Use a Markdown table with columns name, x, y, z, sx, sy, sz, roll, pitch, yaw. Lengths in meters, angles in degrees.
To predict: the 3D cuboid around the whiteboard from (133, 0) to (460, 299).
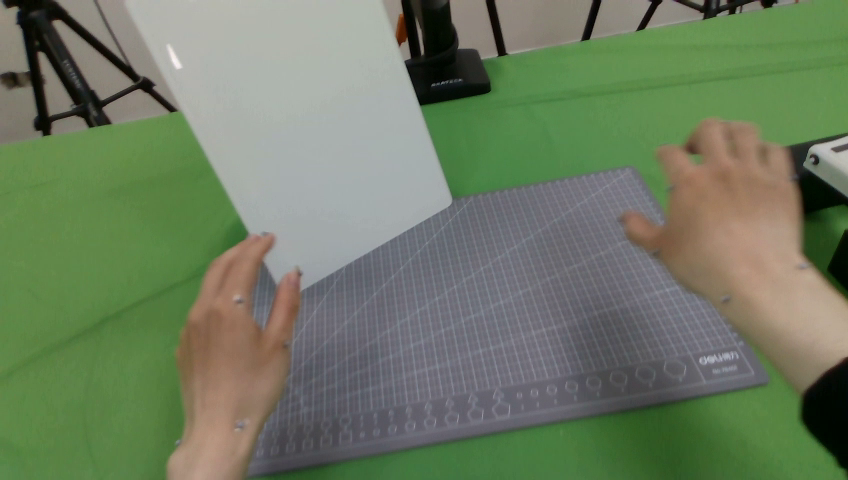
| name | x | y | z | sx | sy | sz | roll | pitch | yaw |
| --- | --- | --- | --- | --- | --- | --- | --- | --- | --- |
| whiteboard | -0.129 | -0.136 | 0.637 | 0.217 | 0.308 | 0.142 | -31 | 26 | -19 |

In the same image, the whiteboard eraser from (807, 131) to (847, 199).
| name | x | y | z | sx | sy | sz | roll | pitch | yaw |
| --- | --- | --- | --- | --- | --- | --- | --- | --- | --- |
| whiteboard eraser | 0.397 | -0.055 | 0.531 | 0.055 | 0.042 | 0.111 | -19 | 40 | 0 |
